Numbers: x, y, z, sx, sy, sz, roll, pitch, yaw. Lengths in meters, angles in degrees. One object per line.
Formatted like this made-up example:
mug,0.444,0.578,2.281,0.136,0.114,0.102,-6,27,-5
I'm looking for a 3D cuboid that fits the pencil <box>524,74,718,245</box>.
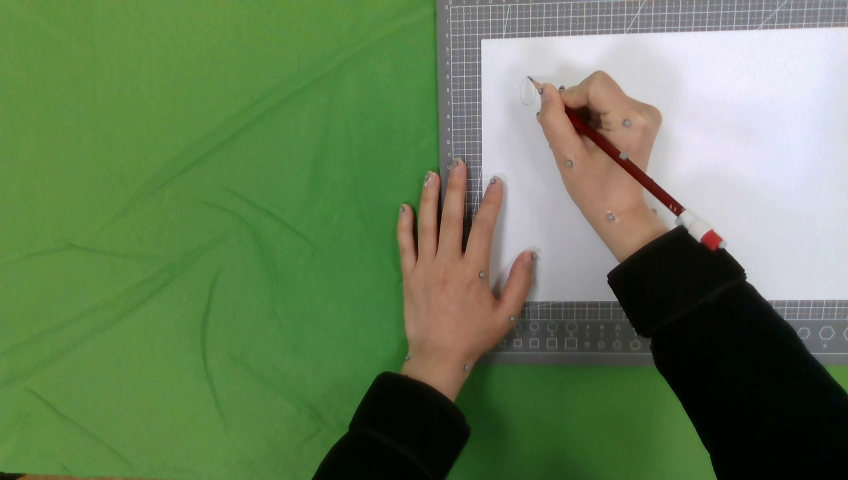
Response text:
pencil,0.125,-0.064,0.413,0.012,0.012,0.192,-44,56,12
